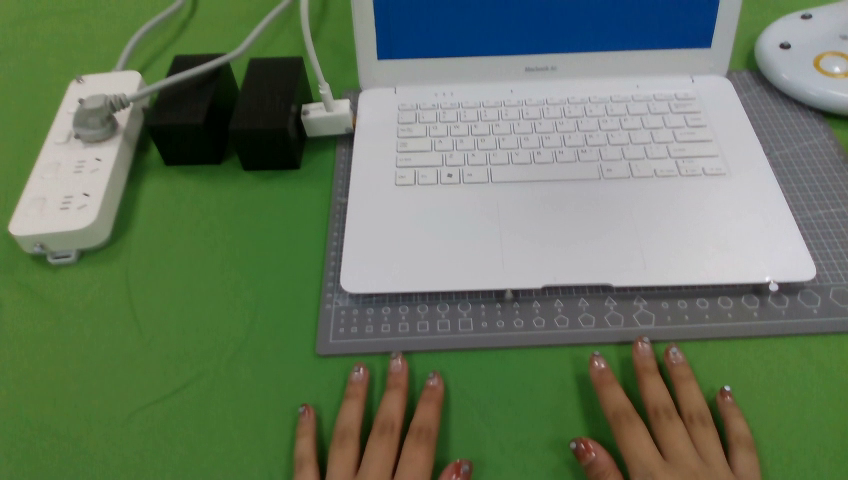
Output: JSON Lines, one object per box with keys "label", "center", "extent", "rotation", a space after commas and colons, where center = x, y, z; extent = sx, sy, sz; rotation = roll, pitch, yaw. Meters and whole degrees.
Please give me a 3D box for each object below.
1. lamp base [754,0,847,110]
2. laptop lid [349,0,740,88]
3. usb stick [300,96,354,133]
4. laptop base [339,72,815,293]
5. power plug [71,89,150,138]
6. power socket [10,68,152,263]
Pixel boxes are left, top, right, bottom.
{"label": "lamp base", "center": [0.411, -0.235, 0.537], "extent": [0.159, 0.182, 0.179], "rotation": [29, 55, 24]}
{"label": "laptop lid", "center": [0.106, -0.250, 0.526], "extent": [0.357, 0.243, 0.013], "rotation": [-3, 32, 2]}
{"label": "usb stick", "center": [-0.081, -0.116, 0.556], "extent": [0.059, 0.027, 0.021], "rotation": [-2, 54, 1]}
{"label": "laptop base", "center": [0.112, -0.056, 0.517], "extent": [0.354, 0.023, 0.233], "rotation": [-2, 56, 1]}
{"label": "power plug", "center": [-0.274, -0.104, 0.534], "extent": [0.072, 0.053, 0.035], "rotation": [3, 53, 5]}
{"label": "power socket", "center": [-0.301, -0.079, 0.545], "extent": [0.072, 0.033, 0.224], "rotation": [-5, 52, -2]}
